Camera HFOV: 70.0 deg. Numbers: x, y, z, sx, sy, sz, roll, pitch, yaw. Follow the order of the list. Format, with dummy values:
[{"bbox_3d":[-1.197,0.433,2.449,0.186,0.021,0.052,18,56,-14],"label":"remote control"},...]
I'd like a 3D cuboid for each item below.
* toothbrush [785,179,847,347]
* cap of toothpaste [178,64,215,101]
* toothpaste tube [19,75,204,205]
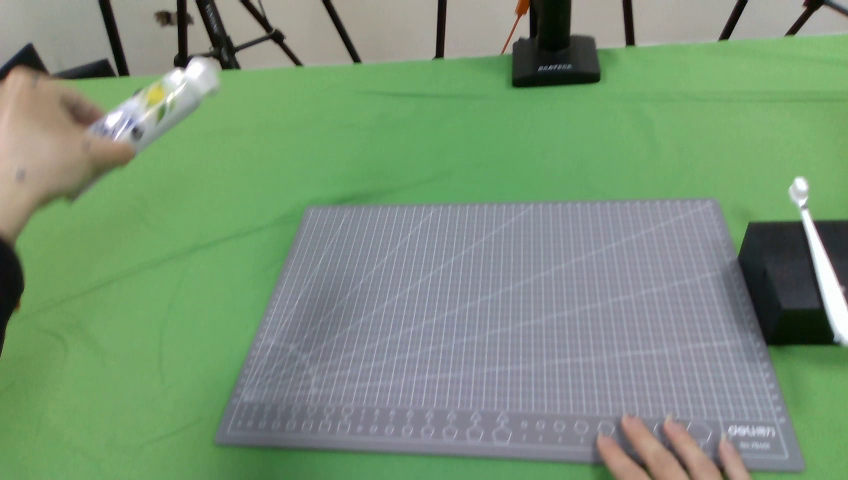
[{"bbox_3d":[0.322,0.011,0.496,0.014,0.017,0.180,5,46,11],"label":"toothbrush"},{"bbox_3d":[-0.203,-0.139,0.539,0.037,0.038,0.011,15,48,24],"label":"cap of toothpaste"},{"bbox_3d":[-0.242,-0.089,0.493,0.055,0.035,0.164,21,50,18],"label":"toothpaste tube"}]
